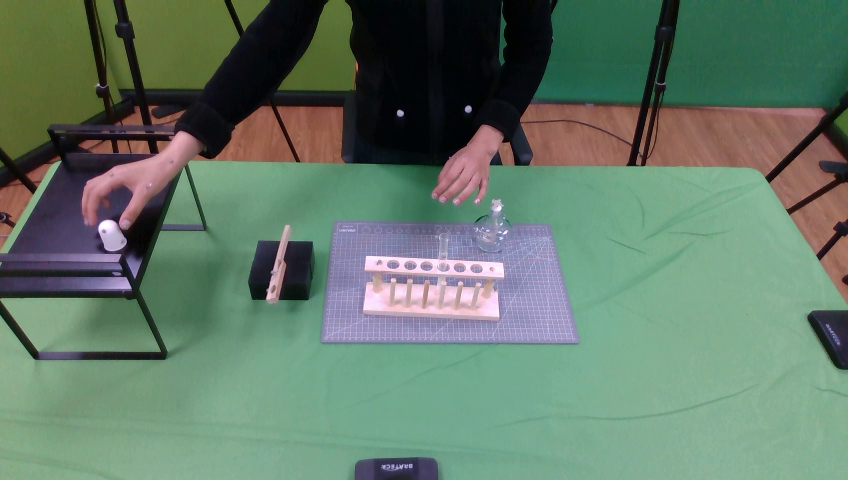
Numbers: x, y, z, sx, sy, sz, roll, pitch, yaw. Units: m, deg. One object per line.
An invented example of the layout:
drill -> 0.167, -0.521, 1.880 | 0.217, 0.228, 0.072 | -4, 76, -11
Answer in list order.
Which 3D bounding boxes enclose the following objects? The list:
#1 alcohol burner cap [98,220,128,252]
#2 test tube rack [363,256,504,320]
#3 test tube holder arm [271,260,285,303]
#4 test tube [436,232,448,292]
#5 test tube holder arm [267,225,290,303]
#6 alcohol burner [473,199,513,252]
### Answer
alcohol burner cap -> -0.467, -0.009, 0.907 | 0.034, 0.048, 0.033 | 1, 45, -1
test tube rack -> 0.015, 0.085, 1.069 | 0.242, 0.085, 0.066 | 3, 46, -2
test tube holder arm -> -0.251, 0.070, 1.045 | 0.010, 0.015, 0.087 | -6, 46, 5
test tube -> 0.030, 0.042, 1.042 | 0.017, 0.151, 0.017 | 1, 48, -1
test tube holder arm -> -0.258, 0.039, 1.077 | 0.013, 0.015, 0.177 | -6, 46, 5
alcohol burner -> 0.135, -0.034, 1.174 | 0.078, 0.120, 0.077 | 1, 47, -1
